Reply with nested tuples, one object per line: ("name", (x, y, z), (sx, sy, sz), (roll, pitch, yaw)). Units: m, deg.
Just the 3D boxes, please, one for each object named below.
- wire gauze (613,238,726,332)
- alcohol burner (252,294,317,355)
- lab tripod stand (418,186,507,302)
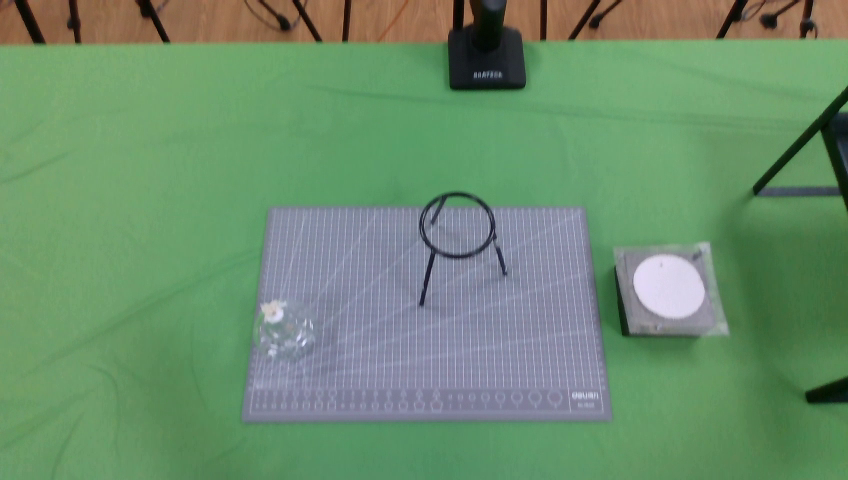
("wire gauze", (0.306, 0.055, 0.757), (0.125, 0.011, 0.120), (-1, 68, 0))
("alcohol burner", (-0.170, 0.097, 0.726), (0.078, 0.120, 0.077), (0, 67, 0))
("lab tripod stand", (0.036, 0.000, 0.761), (0.148, 0.132, 0.147), (-1, 65, 2))
